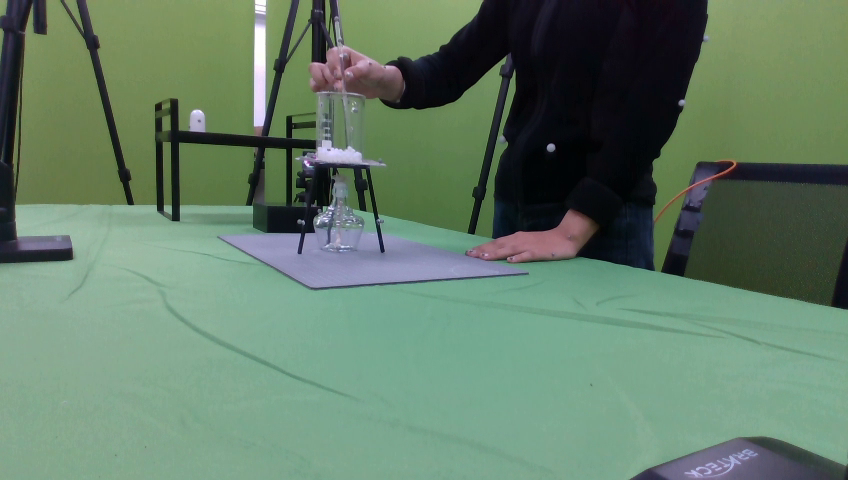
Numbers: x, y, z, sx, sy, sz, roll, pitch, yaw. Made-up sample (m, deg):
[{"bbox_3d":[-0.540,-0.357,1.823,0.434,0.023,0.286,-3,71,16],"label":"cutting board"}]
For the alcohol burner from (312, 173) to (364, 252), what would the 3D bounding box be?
[{"bbox_3d":[-0.129,-0.042,0.910,0.078,0.119,0.078,4,8,0],"label":"alcohol burner"}]

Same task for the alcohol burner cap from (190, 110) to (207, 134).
[{"bbox_3d":[-0.463,-0.242,1.240,0.034,0.048,0.034,1,7,0],"label":"alcohol burner cap"}]

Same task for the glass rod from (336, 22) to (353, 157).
[{"bbox_3d":[-0.116,-0.219,0.882,0.008,0.199,0.008,-6,-1,0],"label":"glass rod"}]

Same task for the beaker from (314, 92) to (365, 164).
[{"bbox_3d":[-0.123,-0.163,0.893,0.073,0.100,0.084,8,9,31],"label":"beaker"}]

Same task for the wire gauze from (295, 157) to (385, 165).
[{"bbox_3d":[-0.128,-0.117,0.900,0.125,0.011,0.121,-1,7,-14],"label":"wire gauze"}]

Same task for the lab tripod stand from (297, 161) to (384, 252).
[{"bbox_3d":[-0.130,-0.051,0.903,0.148,0.131,0.148,4,9,0],"label":"lab tripod stand"}]
